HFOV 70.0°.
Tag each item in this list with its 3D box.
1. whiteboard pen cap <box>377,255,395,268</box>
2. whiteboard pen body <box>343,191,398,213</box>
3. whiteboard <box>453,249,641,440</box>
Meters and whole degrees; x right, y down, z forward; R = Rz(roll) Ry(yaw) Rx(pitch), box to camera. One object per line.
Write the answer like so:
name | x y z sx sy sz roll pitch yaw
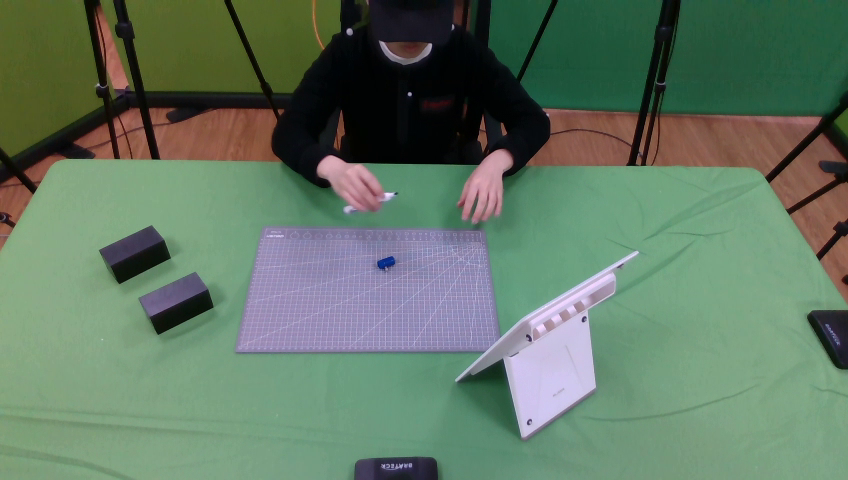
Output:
whiteboard pen cap | -0.073 0.042 1.149 0.033 0.018 0.018 -19 50 -17
whiteboard pen body | -0.099 -0.071 1.120 0.140 0.017 0.017 -14 33 39
whiteboard | 0.206 0.174 0.890 0.217 0.306 0.143 -25 72 -25
